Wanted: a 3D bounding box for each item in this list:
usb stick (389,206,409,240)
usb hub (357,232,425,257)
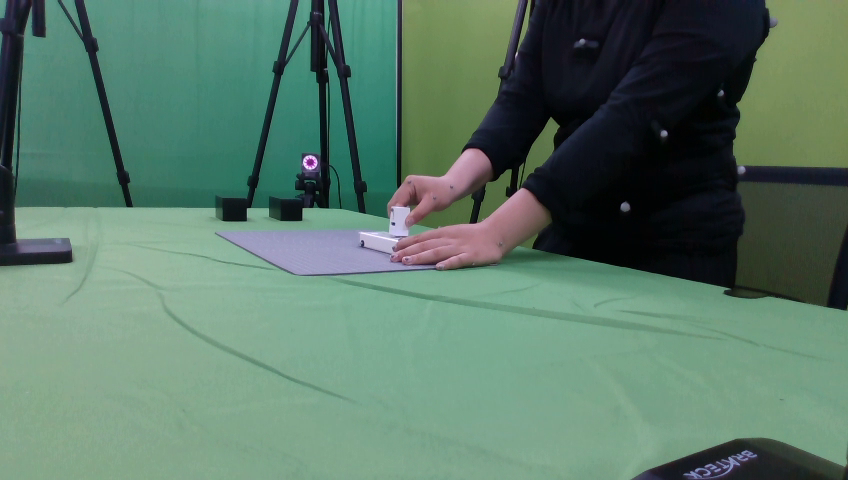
[{"bbox_3d":[-0.039,-0.022,0.933,0.027,0.059,0.021,-8,15,-39],"label":"usb stick"},{"bbox_3d":[-0.054,0.005,0.947,0.050,0.025,0.124,-3,9,-36],"label":"usb hub"}]
